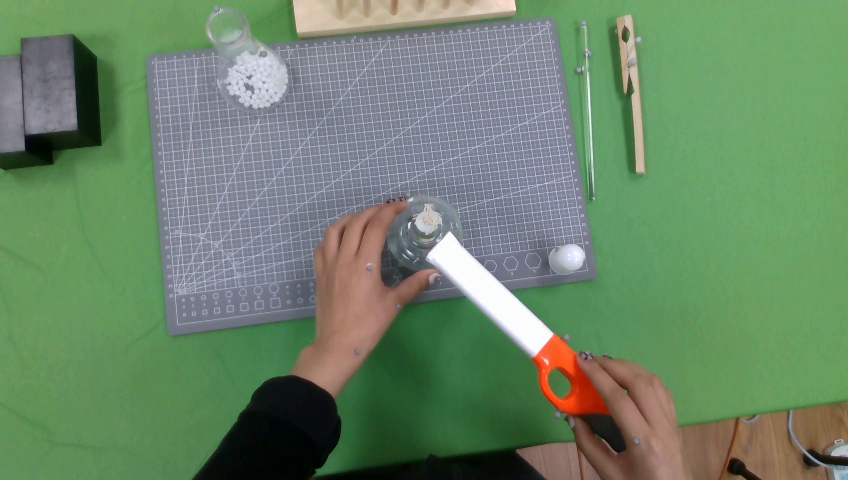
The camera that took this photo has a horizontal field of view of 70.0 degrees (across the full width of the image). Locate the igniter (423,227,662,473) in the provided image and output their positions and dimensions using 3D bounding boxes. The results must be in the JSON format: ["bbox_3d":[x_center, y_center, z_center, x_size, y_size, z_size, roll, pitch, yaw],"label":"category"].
[{"bbox_3d":[0.107,0.096,0.529,0.276,0.025,0.057,44,76,-1],"label":"igniter"}]

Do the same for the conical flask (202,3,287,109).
[{"bbox_3d":[-0.180,-0.183,0.593,0.075,0.122,0.075,1,82,-4],"label":"conical flask"}]

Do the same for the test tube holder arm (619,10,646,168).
[{"bbox_3d":[0.232,-0.169,0.675,0.013,0.015,0.178,-9,83,30],"label":"test tube holder arm"}]

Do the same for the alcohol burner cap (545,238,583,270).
[{"bbox_3d":[0.148,0.012,0.633,0.034,0.048,0.033,1,82,-4],"label":"alcohol burner cap"}]

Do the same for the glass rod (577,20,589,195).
[{"bbox_3d":[0.177,-0.148,0.674,0.008,0.008,0.199,-1,85,-4],"label":"glass rod"}]

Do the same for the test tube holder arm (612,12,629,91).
[{"bbox_3d":[0.222,-0.212,0.682,0.010,0.015,0.087,-8,84,30],"label":"test tube holder arm"}]

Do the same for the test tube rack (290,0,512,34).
[{"bbox_3d":[-0.024,-0.281,0.638,0.242,0.085,0.066,-8,83,-5],"label":"test tube rack"}]

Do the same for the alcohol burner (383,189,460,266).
[{"bbox_3d":[-0.002,-0.015,0.590,0.078,0.119,0.077,0,81,-2],"label":"alcohol burner"}]
